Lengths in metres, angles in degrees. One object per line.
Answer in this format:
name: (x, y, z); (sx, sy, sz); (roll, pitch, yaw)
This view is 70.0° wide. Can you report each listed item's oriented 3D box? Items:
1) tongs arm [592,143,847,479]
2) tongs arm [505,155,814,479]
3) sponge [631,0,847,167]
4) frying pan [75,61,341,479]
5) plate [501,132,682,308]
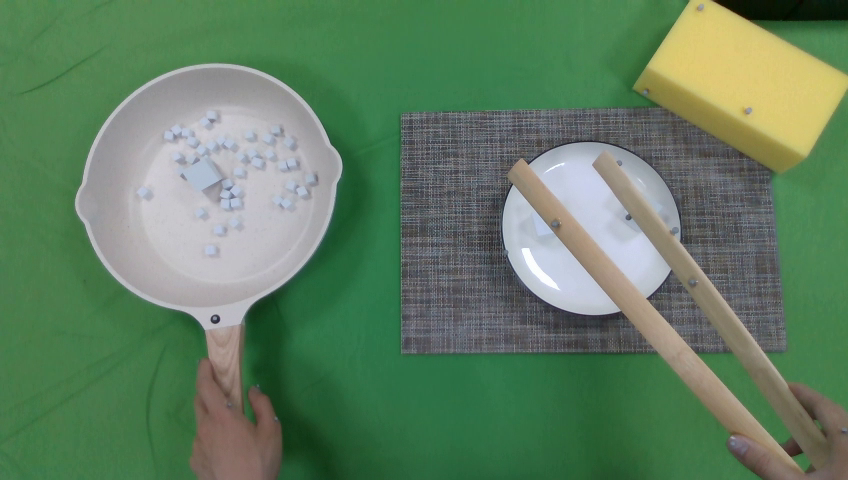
tongs arm: (0.257, 0.057, 0.560); (0.051, 0.026, 0.381); (-9, 58, -39)
tongs arm: (0.199, 0.071, 0.512); (0.385, 0.028, 0.028); (51, 130, 16)
sponge: (0.375, -0.195, 0.726); (0.206, 0.061, 0.118); (32, 82, 7)
frying pan: (-0.230, 0.035, 0.688); (0.307, 0.103, 0.484); (-9, 73, 1)
plate: (0.192, -0.022, 0.715); (0.207, 0.039, 0.207); (0, 81, 2)
